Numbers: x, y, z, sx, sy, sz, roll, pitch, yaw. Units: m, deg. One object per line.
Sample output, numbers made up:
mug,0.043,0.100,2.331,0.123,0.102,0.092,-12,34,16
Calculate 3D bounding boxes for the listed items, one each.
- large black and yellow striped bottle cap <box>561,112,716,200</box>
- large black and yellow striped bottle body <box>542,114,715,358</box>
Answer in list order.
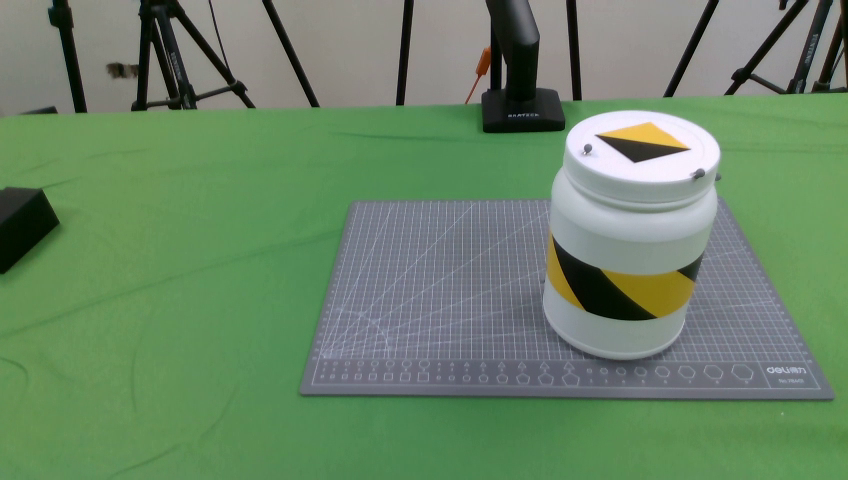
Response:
large black and yellow striped bottle cap,0.166,-0.069,0.475,0.115,0.019,0.114,-1,37,1
large black and yellow striped bottle body,0.173,-0.003,0.527,0.131,0.185,0.129,-2,38,2
